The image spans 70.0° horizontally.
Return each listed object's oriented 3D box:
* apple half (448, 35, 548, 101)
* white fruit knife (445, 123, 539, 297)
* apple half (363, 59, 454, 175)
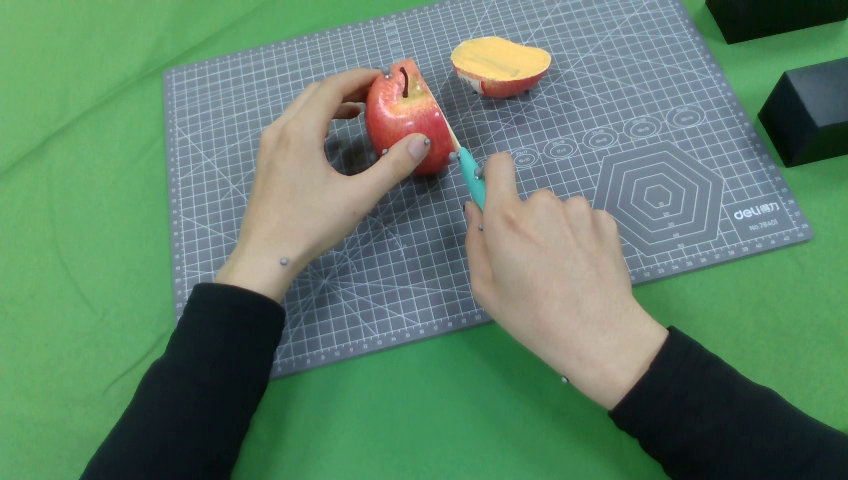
[{"bbox_3d":[0.055,-0.128,0.479,0.081,0.033,0.080,-1,45,1],"label":"apple half"},{"bbox_3d":[0.028,-0.052,0.427,0.016,0.027,0.205,-21,63,-12],"label":"white fruit knife"},{"bbox_3d":[-0.016,-0.083,0.446,0.053,0.075,0.080,-26,69,-1],"label":"apple half"}]
